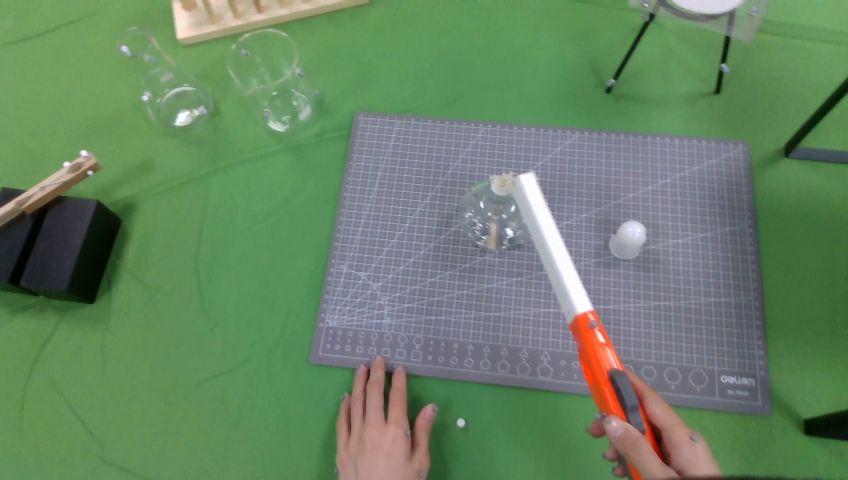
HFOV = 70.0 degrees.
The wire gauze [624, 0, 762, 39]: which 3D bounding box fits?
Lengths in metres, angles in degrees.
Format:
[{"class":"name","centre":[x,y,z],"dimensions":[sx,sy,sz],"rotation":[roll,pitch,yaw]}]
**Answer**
[{"class":"wire gauze","centre":[0.278,-0.262,0.601],"dimensions":[0.121,0.011,0.124],"rotation":[26,73,10]}]

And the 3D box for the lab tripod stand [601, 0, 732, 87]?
[{"class":"lab tripod stand","centre":[0.274,-0.237,0.664],"dimensions":[0.148,0.132,0.147],"rotation":[0,68,1]}]

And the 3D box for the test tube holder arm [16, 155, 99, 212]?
[{"class":"test tube holder arm","centre":[-0.382,-0.059,0.630],"dimensions":[0.088,0.015,0.010],"rotation":[-36,71,-12]}]

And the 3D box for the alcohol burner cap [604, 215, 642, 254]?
[{"class":"alcohol burner cap","centre":[0.207,-0.008,0.625],"dimensions":[0.034,0.048,0.033],"rotation":[-1,69,2]}]

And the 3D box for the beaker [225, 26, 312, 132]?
[{"class":"beaker","centre":[-0.170,-0.171,0.674],"dimensions":[0.074,0.101,0.083],"rotation":[20,71,10]}]

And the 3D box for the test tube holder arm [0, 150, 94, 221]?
[{"class":"test tube holder arm","centre":[-0.421,-0.036,0.622],"dimensions":[0.178,0.015,0.013],"rotation":[-37,72,-12]}]

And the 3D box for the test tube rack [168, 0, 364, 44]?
[{"class":"test tube rack","centre":[-0.202,-0.320,0.739],"dimensions":[0.242,0.086,0.066],"rotation":[-15,69,-4]}]

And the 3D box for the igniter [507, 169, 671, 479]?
[{"class":"igniter","centre":[0.121,0.067,0.467],"dimensions":[0.025,0.057,0.274],"rotation":[-15,67,-10]}]

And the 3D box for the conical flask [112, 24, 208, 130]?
[{"class":"conical flask","centre":[-0.296,-0.183,0.670],"dimensions":[0.075,0.123,0.075],"rotation":[-1,68,2]}]

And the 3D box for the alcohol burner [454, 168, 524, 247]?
[{"class":"alcohol burner","centre":[0.069,-0.038,0.602],"dimensions":[0.078,0.120,0.077],"rotation":[0,68,0]}]
